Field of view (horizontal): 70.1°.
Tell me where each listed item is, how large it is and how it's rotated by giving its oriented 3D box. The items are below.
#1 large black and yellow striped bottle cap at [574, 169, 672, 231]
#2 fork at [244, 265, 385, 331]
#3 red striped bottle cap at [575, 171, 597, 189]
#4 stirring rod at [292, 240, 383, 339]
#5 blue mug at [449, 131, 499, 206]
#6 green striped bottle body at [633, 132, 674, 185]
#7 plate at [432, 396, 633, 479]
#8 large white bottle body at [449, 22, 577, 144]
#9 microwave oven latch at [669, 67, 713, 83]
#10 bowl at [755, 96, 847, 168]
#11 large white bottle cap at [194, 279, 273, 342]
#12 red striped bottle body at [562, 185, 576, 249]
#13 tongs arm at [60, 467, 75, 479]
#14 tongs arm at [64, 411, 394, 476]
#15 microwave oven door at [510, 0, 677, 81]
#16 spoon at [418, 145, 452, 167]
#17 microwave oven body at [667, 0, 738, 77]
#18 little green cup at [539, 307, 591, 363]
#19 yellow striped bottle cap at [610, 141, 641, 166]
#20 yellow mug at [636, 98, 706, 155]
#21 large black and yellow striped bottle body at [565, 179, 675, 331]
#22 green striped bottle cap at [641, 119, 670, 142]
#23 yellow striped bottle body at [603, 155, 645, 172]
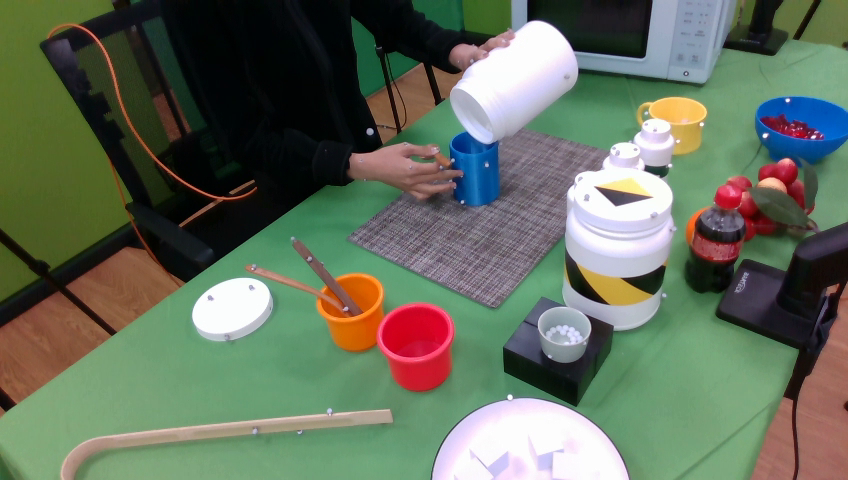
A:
[{"bbox_3d":[0.242,-0.051,0.738,0.115,0.019,0.114,-4,37,3],"label":"large black and yellow striped bottle cap"},{"bbox_3d":[-0.142,0.078,0.806,0.209,0.018,0.028,30,31,-23],"label":"fork"},{"bbox_3d":[0.242,-0.081,0.876,0.044,0.018,0.044,-5,44,5],"label":"red striped bottle cap"},{"bbox_3d":[-0.118,0.068,0.825,0.176,0.006,0.014,48,59,-3],"label":"stirring rod"},{"bbox_3d":[0.090,-0.134,1.050,0.082,0.106,0.116,1,41,10],"label":"blue mug"},{"bbox_3d":[0.376,-0.135,1.001,0.063,0.120,0.063,-5,40,5],"label":"green striped bottle body"},{"bbox_3d":[0.112,0.261,0.634,0.209,0.038,0.208,-5,40,4],"label":"plate"},{"bbox_3d":[0.144,-0.254,0.994,0.185,0.131,0.129,-39,47,-12],"label":"large white bottle body"},{"bbox_3d":[0.556,-0.349,1.261,0.078,0.029,0.030,16,46,27],"label":"microwave oven latch"},{"bbox_3d":[0.645,-0.177,1.041,0.151,0.077,0.150,-5,40,4],"label":"bowl"},{"bbox_3d":[-0.284,0.103,0.902,0.115,0.018,0.114,-4,40,4],"label":"large white bottle cap"},{"bbox_3d":[0.246,-0.041,0.910,0.063,0.120,0.063,0,38,0],"label":"red striped bottle body"},{"bbox_3d":[-0.239,0.302,0.649,0.386,0.028,0.028,6,49,16],"label":"tongs arm"},{"bbox_3d":[-0.228,0.241,0.715,0.385,0.026,0.050,-5,44,4],"label":"tongs arm"},{"bbox_3d":[0.354,-0.478,1.290,0.353,0.245,0.039,15,45,25],"label":"microwave oven door"},{"bbox_3d":[0.019,-0.141,1.018,0.041,0.022,0.193,-24,15,-3],"label":"spoon"},{"bbox_3d":[0.462,-0.552,1.369,0.439,0.261,0.326,15,45,26],"label":"microwave oven body"},{"bbox_3d":[0.167,0.114,0.721,0.061,0.039,0.061,-4,43,4],"label":"little green cup"},{"bbox_3d":[0.308,-0.131,0.925,0.044,0.019,0.044,-4,47,4],"label":"yellow striped bottle cap"},{"bbox_3d":[0.453,-0.217,1.128,0.100,0.064,0.129,-34,46,-27],"label":"yellow mug"},{"bbox_3d":[0.254,0.014,0.793,0.131,0.185,0.130,-5,40,4],"label":"large black and yellow striped bottle body"},{"bbox_3d":[0.371,-0.175,0.968,0.044,0.020,0.044,-5,42,5],"label":"green striped bottle cap"},{"bbox_3d":[0.314,-0.091,0.958,0.063,0.121,0.062,-4,40,4],"label":"yellow striped bottle body"}]
